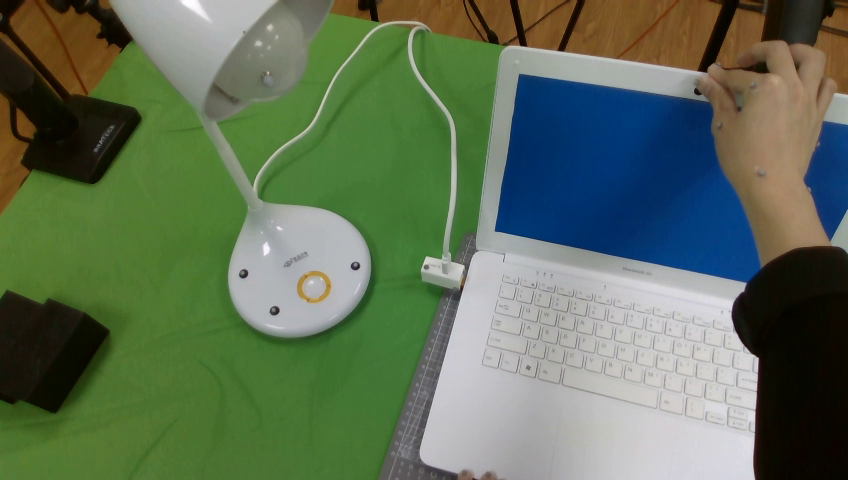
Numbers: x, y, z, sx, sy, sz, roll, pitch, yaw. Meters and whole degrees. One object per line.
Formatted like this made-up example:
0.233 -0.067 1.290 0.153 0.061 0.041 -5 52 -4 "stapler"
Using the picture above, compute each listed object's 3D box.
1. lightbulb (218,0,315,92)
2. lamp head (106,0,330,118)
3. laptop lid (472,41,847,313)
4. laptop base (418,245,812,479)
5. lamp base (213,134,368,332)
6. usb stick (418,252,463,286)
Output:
-0.101 -0.136 0.336 0.059 0.059 0.108 -24 101 -9 "lightbulb"
-0.130 -0.147 0.343 0.123 0.112 0.112 41 70 -3 "lamp head"
0.229 -0.052 0.583 0.356 0.243 0.013 10 36 11 "laptop lid"
0.191 0.143 0.601 0.353 0.023 0.234 12 67 10 "laptop base"
-0.157 -0.016 0.620 0.160 0.182 0.177 -41 63 -17 "lamp base"
0.025 0.033 0.658 0.059 0.027 0.021 16 58 9 "usb stick"
